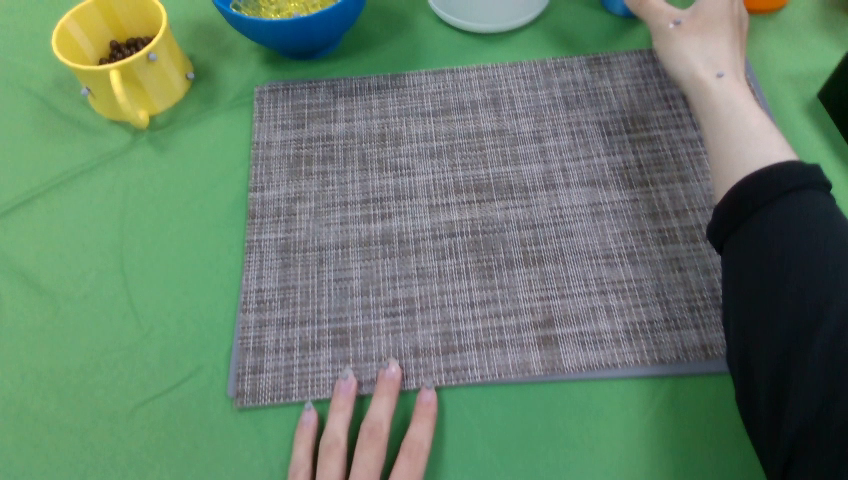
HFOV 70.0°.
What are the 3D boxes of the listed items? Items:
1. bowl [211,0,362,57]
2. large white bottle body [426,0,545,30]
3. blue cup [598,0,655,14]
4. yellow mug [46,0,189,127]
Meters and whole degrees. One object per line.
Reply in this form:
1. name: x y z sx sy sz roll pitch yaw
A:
1. bowl: -0.122 -0.229 0.570 0.151 0.077 0.150 -1 60 2
2. large white bottle body: 0.058 -0.302 0.543 0.130 0.186 0.129 -1 60 2
3. blue cup: 0.199 -0.272 0.568 0.092 0.101 0.092 -2 62 3
4. yellow mug: -0.270 -0.158 0.543 0.100 0.064 0.129 -17 62 -8
